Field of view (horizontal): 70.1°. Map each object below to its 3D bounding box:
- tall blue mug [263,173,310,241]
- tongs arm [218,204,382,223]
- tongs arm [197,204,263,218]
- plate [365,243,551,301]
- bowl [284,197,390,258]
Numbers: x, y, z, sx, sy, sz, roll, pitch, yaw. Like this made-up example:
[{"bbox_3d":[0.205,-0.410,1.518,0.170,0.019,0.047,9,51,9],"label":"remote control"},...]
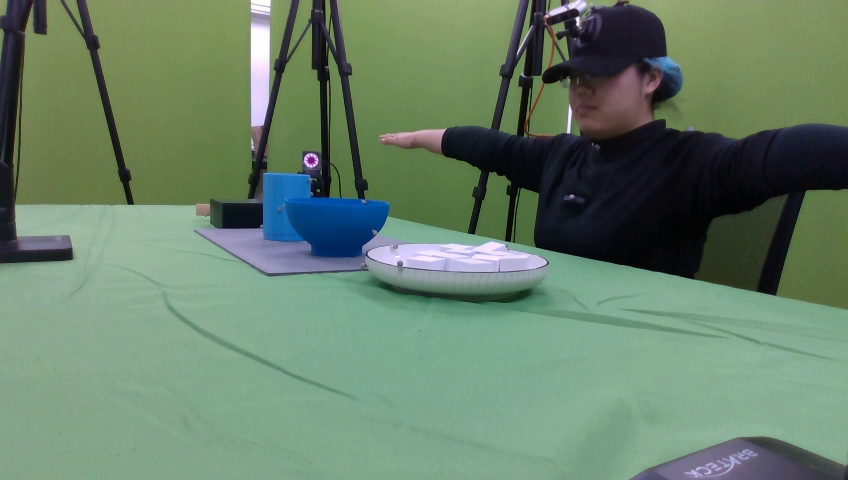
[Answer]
[{"bbox_3d":[-0.233,-0.058,1.019,0.078,0.108,0.107,-1,8,-19],"label":"tall blue mug"},{"bbox_3d":[-0.285,-0.061,1.382,0.387,0.027,0.028,3,-2,6],"label":"tongs arm"},{"bbox_3d":[-0.282,-0.057,1.301,0.386,0.026,0.050,2,1,-7],"label":"tongs arm"},{"bbox_3d":[0.038,0.035,0.685,0.209,0.038,0.209,2,7,0],"label":"plate"},{"bbox_3d":[-0.125,-0.019,0.870,0.151,0.077,0.151,2,7,0],"label":"bowl"}]
